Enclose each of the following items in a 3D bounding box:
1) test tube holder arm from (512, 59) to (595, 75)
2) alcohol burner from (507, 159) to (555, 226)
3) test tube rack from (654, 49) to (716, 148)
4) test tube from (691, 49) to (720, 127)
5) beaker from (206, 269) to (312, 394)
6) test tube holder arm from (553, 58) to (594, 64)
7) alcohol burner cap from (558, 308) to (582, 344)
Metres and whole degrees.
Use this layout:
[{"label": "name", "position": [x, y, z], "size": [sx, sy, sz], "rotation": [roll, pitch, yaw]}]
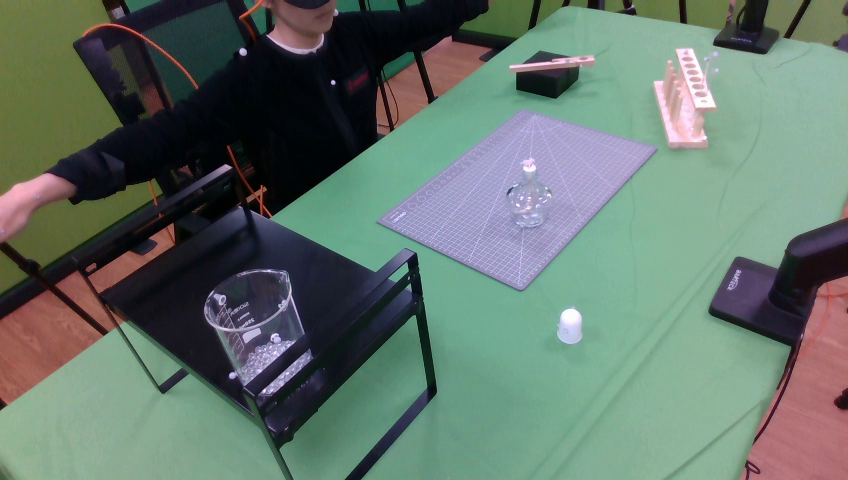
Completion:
[{"label": "test tube holder arm", "position": [0.276, -0.371, 1.293], "size": [0.179, 0.015, 0.013], "rotation": [-8, 38, -2]}, {"label": "alcohol burner", "position": [0.172, -0.081, 0.969], "size": [0.078, 0.119, 0.077], "rotation": [-4, 43, 4]}, {"label": "test tube rack", "position": [0.502, -0.281, 1.176], "size": [0.066, 0.085, 0.241], "rotation": [2, 41, 11]}, {"label": "test tube", "position": [0.505, -0.270, 1.087], "size": [0.017, 0.151, 0.017], "rotation": [-2, 41, 2]}, {"label": "beaker", "position": [-0.146, 0.086, 0.560], "size": [0.073, 0.101, 0.084], "rotation": [19, 46, 27]}, {"label": "test tube holder arm", "position": [0.321, -0.380, 1.299], "size": [0.088, 0.015, 0.010], "rotation": [-5, 38, 1]}, {"label": "alcohol burner cap", "position": [0.195, 0.111, 0.802], "size": [0.034, 0.048, 0.033], "rotation": [-4, 39, 4]}]
